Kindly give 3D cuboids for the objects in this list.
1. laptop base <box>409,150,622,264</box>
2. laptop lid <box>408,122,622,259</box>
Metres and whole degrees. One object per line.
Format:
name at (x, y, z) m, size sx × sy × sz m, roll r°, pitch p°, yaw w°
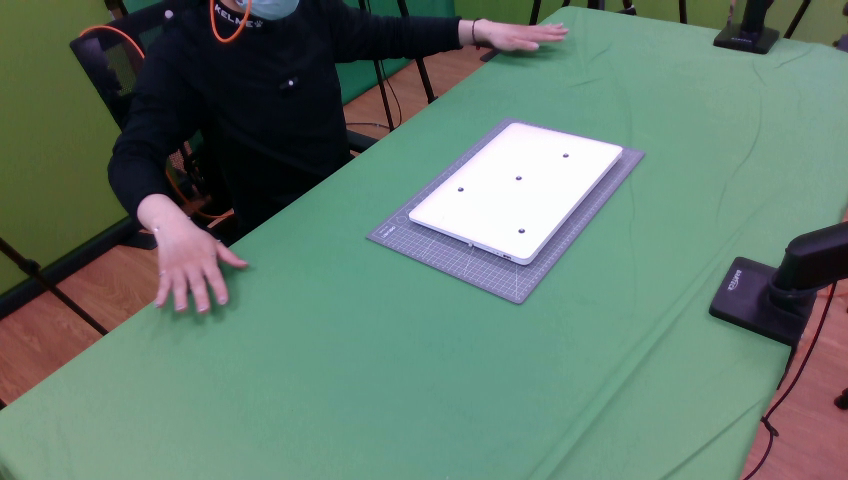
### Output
laptop base at (0.168, -0.095, 1.057) m, size 0.233 × 0.023 × 0.355 m, roll 20°, pitch 47°, yaw 33°
laptop lid at (0.165, -0.105, 1.051) m, size 0.240 × 0.013 × 0.358 m, roll 22°, pitch 48°, yaw 33°
